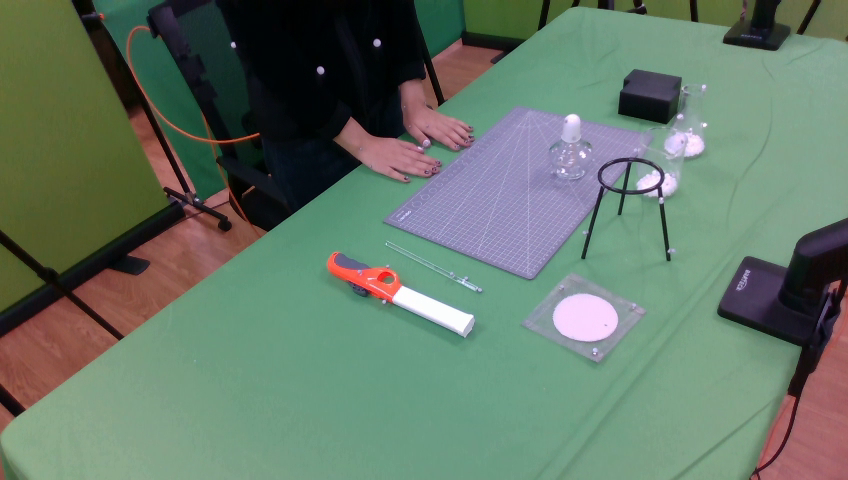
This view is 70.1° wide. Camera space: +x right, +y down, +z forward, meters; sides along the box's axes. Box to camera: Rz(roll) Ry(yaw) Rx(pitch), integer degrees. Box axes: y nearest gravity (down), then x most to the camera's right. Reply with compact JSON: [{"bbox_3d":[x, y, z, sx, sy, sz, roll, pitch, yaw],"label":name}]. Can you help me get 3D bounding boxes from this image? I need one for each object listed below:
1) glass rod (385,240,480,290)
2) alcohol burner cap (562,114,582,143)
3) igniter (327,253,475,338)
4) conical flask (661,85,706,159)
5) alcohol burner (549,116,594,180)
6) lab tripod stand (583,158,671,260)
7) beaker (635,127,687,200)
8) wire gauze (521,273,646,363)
[{"bbox_3d":[0.009,0.037,0.950,0.198,0.008,0.008,26,52,35],"label":"glass rod"},{"bbox_3d":[0.254,-0.192,1.030,0.034,0.048,0.033,-4,50,6],"label":"alcohol burner cap"},{"bbox_3d":[-0.045,0.077,0.898,0.274,0.025,0.057,22,60,32],"label":"igniter"},{"bbox_3d":[0.464,-0.210,1.065,0.075,0.122,0.075,-6,40,6],"label":"conical flask"},{"bbox_3d":[0.258,-0.166,1.055,0.078,0.120,0.077,-6,42,6],"label":"alcohol burner"},{"bbox_3d":[0.300,-0.046,0.895,0.148,0.132,0.147,-7,38,6],"label":"lab tripod stand"},{"bbox_3d":[0.388,-0.122,0.995,0.074,0.101,0.083,-8,41,3],"label":"beaker"},{"bbox_3d":[0.219,0.105,0.830,0.120,0.011,0.125,28,54,37],"label":"wire gauze"}]
